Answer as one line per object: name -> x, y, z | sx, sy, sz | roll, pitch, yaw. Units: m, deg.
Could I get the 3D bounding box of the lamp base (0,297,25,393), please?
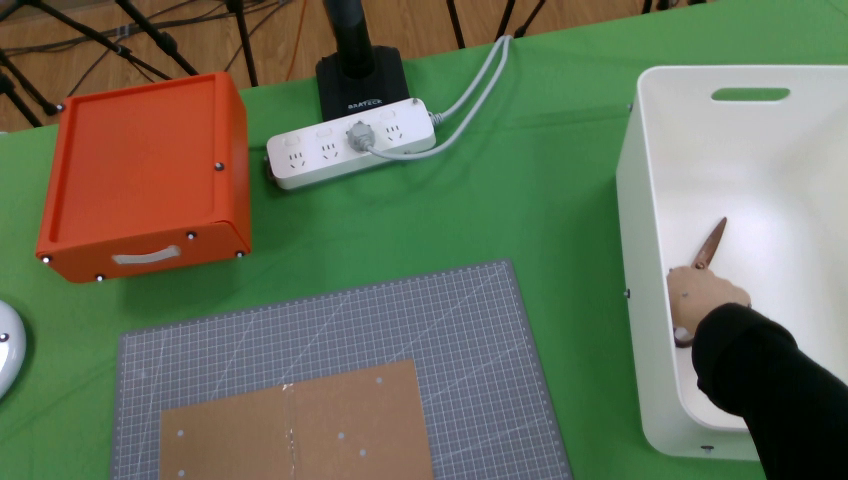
lamp base -> -0.540, 0.090, 0.605 | 0.178, 0.182, 0.160 | 18, 64, 17

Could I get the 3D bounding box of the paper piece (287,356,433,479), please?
paper piece -> -0.067, 0.192, 0.610 | 0.135, 0.004, 0.134 | -10, 61, -2

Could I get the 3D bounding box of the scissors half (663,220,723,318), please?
scissors half -> 0.286, 0.034, 0.668 | 0.039, 0.013, 0.175 | 33, 67, 34

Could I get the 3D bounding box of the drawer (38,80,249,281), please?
drawer -> -0.304, -0.072, 0.682 | 0.194, 0.074, 0.209 | -10, 60, 0

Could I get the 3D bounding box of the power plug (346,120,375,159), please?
power plug -> -0.077, -0.114, 0.740 | 0.035, 0.053, 0.072 | -7, 61, 0

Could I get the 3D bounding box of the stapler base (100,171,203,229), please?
stapler base -> -0.316, -0.048, 0.690 | 0.130, 0.024, 0.041 | 17, 80, 16

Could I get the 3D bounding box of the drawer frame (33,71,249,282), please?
drawer frame -> -0.306, -0.073, 0.683 | 0.202, 0.083, 0.211 | -10, 60, -1

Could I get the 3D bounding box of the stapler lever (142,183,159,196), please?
stapler lever -> -0.324, -0.054, 0.665 | 0.117, 0.040, 0.027 | 16, 80, 17

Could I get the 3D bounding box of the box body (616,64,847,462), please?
box body -> 0.333, 0.021, 0.588 | 0.254, 0.162, 0.361 | 1, 62, 5

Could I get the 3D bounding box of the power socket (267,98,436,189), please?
power socket -> -0.092, -0.124, 0.773 | 0.227, 0.033, 0.071 | -16, 62, -5

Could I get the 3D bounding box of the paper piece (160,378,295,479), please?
paper piece -> -0.197, 0.219, 0.606 | 0.136, 0.009, 0.137 | -12, 62, 1

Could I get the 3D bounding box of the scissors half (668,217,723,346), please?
scissors half -> 0.302, 0.042, 0.658 | 0.040, 0.013, 0.174 | 18, 61, 21
